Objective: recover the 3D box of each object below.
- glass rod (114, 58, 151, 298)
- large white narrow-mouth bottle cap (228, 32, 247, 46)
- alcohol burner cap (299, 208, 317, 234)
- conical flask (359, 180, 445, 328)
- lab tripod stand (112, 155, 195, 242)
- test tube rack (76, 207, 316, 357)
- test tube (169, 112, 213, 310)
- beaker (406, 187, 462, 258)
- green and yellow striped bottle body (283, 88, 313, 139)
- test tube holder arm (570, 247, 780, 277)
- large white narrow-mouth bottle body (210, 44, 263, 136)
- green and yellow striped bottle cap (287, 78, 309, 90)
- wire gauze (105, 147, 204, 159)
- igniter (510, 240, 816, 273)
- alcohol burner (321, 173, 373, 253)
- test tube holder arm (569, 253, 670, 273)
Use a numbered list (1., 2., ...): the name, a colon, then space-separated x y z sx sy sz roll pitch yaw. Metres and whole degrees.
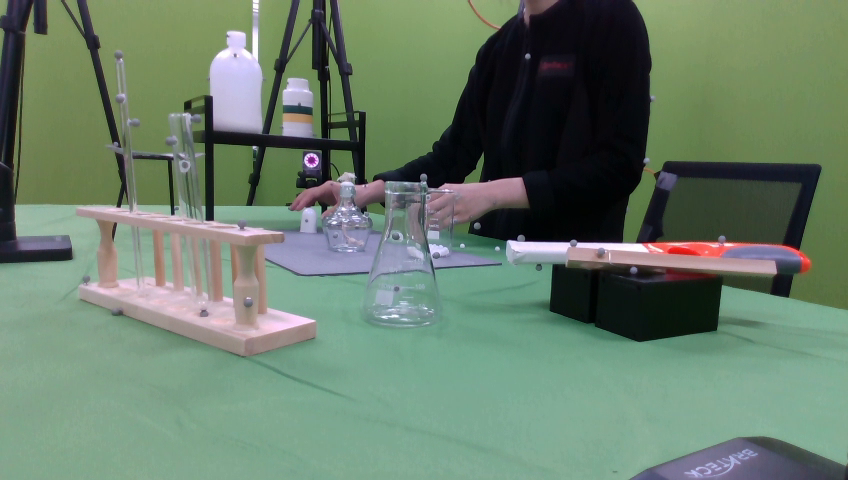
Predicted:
1. glass rod: -0.236 -0.044 0.492 0.008 0.199 0.008 0 15 0
2. large white narrow-mouth bottle cap: -0.364 -0.391 1.180 0.038 0.024 0.037 3 8 0
3. alcohol burner cap: -0.213 -0.036 1.109 0.034 0.048 0.034 1 9 0
4. conical flask: -0.017 0.010 0.522 0.075 0.122 0.075 2 7 0
5. lab tripod stand: -0.405 -0.064 0.931 0.148 0.131 0.148 1 6 0
6. test tube rack: -0.196 0.023 0.499 0.241 0.085 0.067 8 9 36
7. test tube: -0.175 -0.020 0.455 0.017 0.150 0.017 -3 9 1
8. beaker: 0.013 -0.026 0.892 0.084 0.100 0.074 3 8 -2
9. green and yellow striped bottle body: -0.266 -0.275 1.275 0.063 0.119 0.063 3 7 0
10. test tube holder arm: 0.217 0.019 0.525 0.178 0.015 0.013 3 -23 3
11. large white narrow-mouth bottle body: -0.369 -0.306 1.194 0.102 0.194 0.102 3 8 0
12. green and yellow striped bottle cap: -0.265 -0.326 1.268 0.045 0.020 0.045 4 6 0
13. wire gauze: -0.407 -0.131 0.928 0.125 0.011 0.121 2 6 -11
14. igniter: 0.220 0.015 0.565 0.277 0.025 0.057 2 16 0
15. alcohol burner: -0.115 -0.041 0.905 0.078 0.119 0.078 1 6 0
16. test tube holder arm: 0.172 0.019 0.532 0.088 0.015 0.010 3 -23 3
